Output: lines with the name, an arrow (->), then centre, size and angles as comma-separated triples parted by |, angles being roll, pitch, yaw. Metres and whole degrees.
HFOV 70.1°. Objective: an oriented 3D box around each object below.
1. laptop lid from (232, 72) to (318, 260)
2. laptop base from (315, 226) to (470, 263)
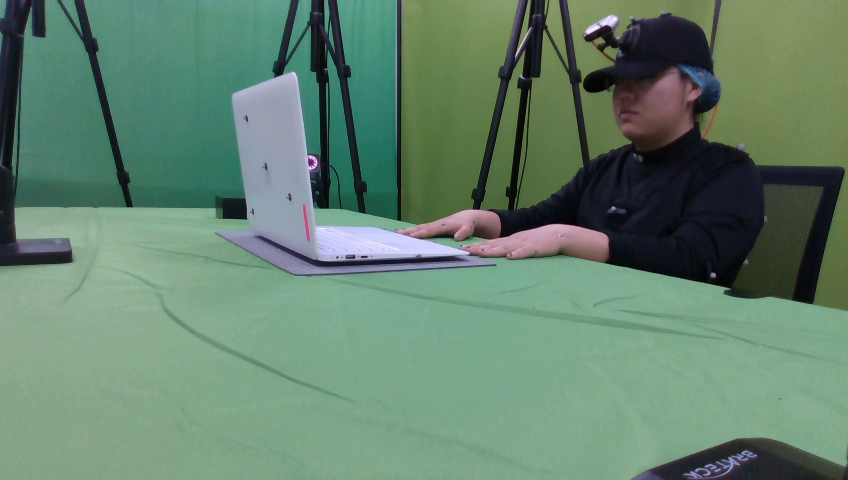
laptop lid -> -0.229, -0.109, 0.888 | 0.013, 0.241, 0.355 | -10, 14, -28
laptop base -> -0.117, 0.005, 0.970 | 0.237, 0.023, 0.352 | 2, 6, -30
